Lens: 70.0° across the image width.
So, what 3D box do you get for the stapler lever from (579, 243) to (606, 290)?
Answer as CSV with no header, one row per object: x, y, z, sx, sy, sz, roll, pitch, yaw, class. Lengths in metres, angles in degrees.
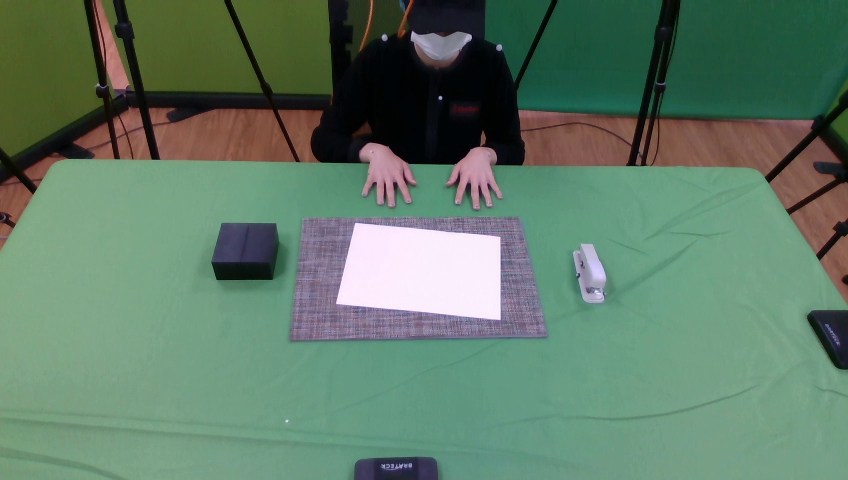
0.318,0.044,1.144,0.027,0.040,0.117,3,45,-3,stapler lever

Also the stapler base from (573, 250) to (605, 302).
0.317,0.062,1.160,0.041,0.024,0.129,3,44,-3,stapler base
